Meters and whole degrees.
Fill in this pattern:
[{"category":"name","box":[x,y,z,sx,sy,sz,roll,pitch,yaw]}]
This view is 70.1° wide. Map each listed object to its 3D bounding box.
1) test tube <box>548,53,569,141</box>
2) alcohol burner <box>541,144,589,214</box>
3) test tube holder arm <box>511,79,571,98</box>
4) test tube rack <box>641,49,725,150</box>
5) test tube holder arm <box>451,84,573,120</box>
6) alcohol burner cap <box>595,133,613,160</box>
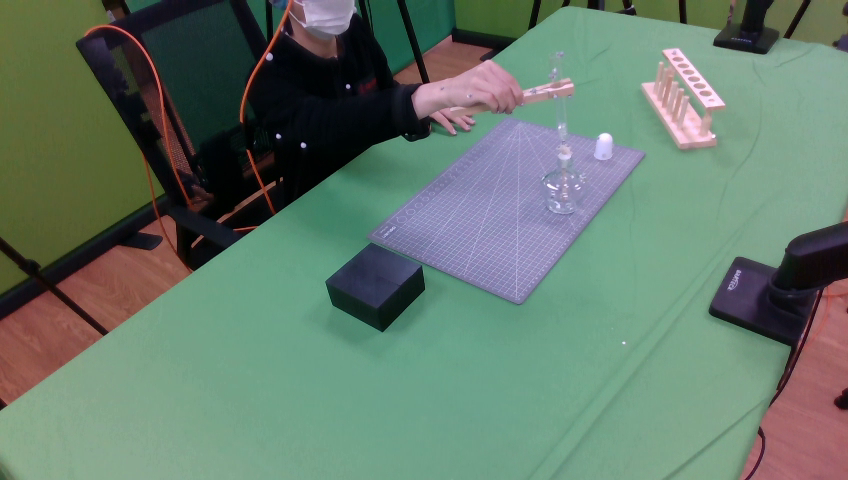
[{"category":"test tube","box":[0.198,-0.205,0.887,0.017,0.151,0.017,-10,46,11]},{"category":"alcohol burner","box":[0.229,-0.102,0.983,0.078,0.119,0.077,-6,41,5]},{"category":"test tube holder arm","box":[0.170,-0.214,0.878,0.088,0.015,0.010,-17,40,-2]},{"category":"test tube rack","box":[0.495,-0.279,1.175,0.067,0.085,0.241,-5,41,3]},{"category":"test tube holder arm","box":[0.127,-0.200,0.874,0.178,0.015,0.013,-12,40,3]},{"category":"alcohol burner cap","box":[0.330,-0.172,1.104,0.034,0.048,0.033,-5,40,5]}]
